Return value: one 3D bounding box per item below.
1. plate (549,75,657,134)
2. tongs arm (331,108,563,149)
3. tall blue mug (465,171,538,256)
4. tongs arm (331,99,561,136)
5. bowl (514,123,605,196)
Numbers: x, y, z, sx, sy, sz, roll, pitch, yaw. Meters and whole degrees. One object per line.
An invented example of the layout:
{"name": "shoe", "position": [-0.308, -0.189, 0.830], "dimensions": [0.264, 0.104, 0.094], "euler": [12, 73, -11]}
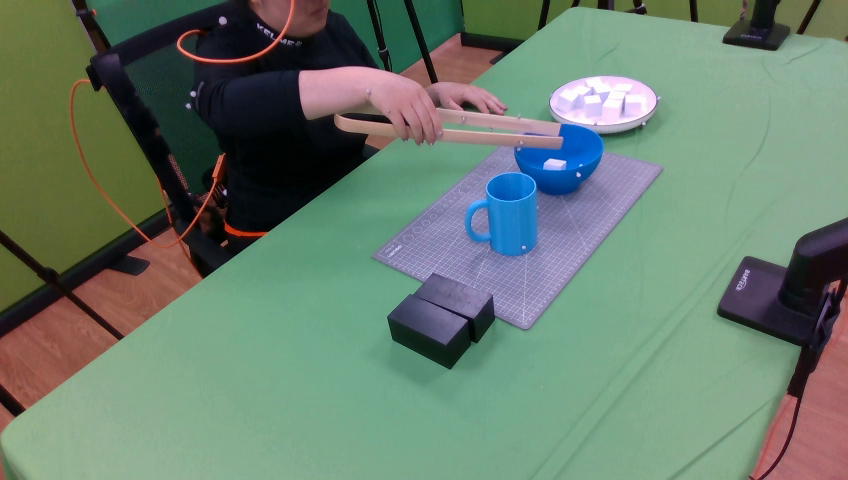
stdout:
{"name": "plate", "position": [0.357, -0.269, 1.220], "dimensions": [0.209, 0.038, 0.208], "euler": [-5, 41, 5]}
{"name": "tongs arm", "position": [0.035, -0.182, 1.003], "dimensions": [0.388, 0.028, 0.028], "euler": [6, 50, 1]}
{"name": "tall blue mug", "position": [0.125, -0.033, 0.925], "dimensions": [0.107, 0.108, 0.077], "euler": [-32, 46, -25]}
{"name": "tongs arm", "position": [0.038, -0.201, 1.021], "dimensions": [0.385, 0.026, 0.050], "euler": [9, 47, 3]}
{"name": "bowl", "position": [0.232, -0.131, 1.046], "dimensions": [0.151, 0.077, 0.150], "euler": [-5, 40, 5]}
